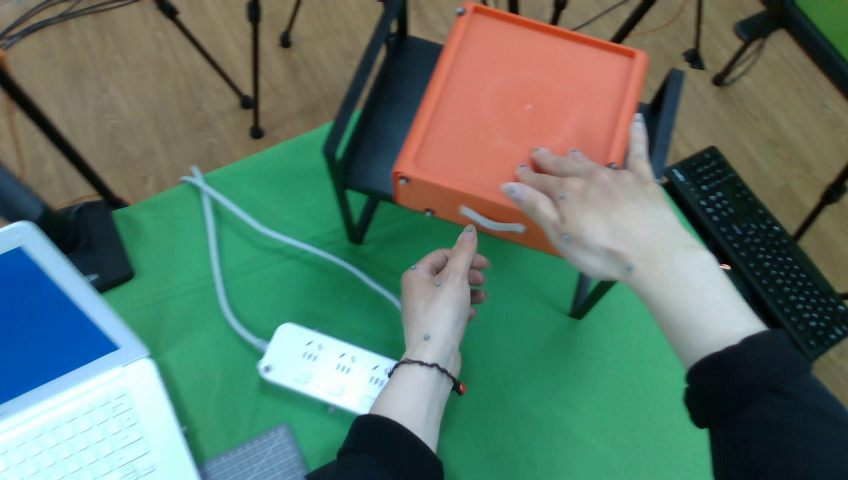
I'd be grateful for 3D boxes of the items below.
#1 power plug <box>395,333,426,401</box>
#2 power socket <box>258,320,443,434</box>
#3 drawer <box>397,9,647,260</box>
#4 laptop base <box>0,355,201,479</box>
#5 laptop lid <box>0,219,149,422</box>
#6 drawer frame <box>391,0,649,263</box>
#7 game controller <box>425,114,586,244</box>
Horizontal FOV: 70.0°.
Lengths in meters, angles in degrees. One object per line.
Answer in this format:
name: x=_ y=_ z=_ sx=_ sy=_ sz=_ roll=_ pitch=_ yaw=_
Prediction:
power plug: x=-0.006 y=0.151 z=0.698 sx=0.035 sy=0.053 sz=0.072 roll=29 pitch=69 yaw=10
power socket: x=-0.086 y=0.161 z=0.716 sx=0.226 sy=0.033 sz=0.072 roll=20 pitch=70 yaw=6
drawer: x=0.099 y=-0.108 z=0.606 sx=0.194 sy=0.074 sz=0.210 roll=18 pitch=70 yaw=6
laptop base: x=-0.426 y=0.305 z=0.659 sx=0.354 sy=0.023 sz=0.234 roll=-26 pitch=74 yaw=-11
laptop lid: x=-0.502 y=0.130 z=0.611 sx=0.357 sy=0.244 sz=0.013 roll=-27 pitch=47 yaw=-10
drawer frame: x=0.097 y=-0.111 z=0.607 sx=0.201 sy=0.083 sz=0.212 roll=18 pitch=69 yaw=6
game controller: x=0.085 y=-0.066 z=0.605 sx=0.155 sy=0.052 sz=0.097 roll=21 pitch=75 yaw=9
